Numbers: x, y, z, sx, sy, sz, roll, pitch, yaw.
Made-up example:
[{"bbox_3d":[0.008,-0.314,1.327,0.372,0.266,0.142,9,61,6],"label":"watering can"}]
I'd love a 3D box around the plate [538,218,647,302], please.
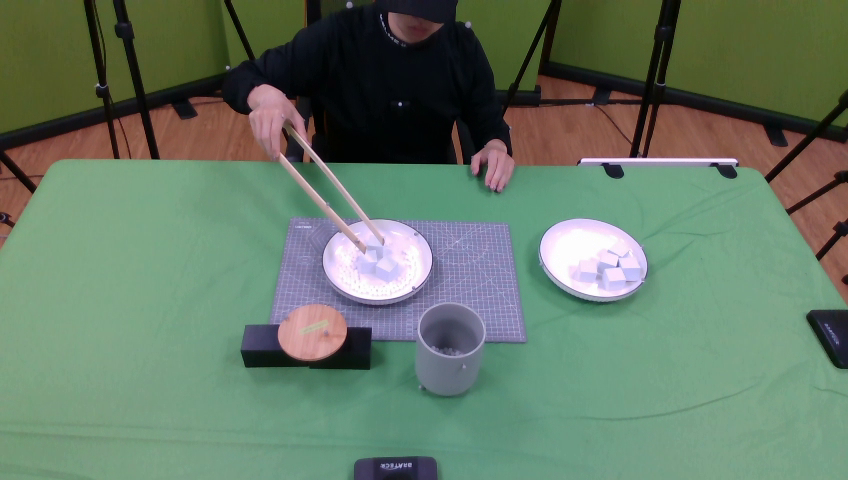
[{"bbox_3d":[0.322,0.042,1.171,0.208,0.039,0.206,2,46,-2],"label":"plate"}]

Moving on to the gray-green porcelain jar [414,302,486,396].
[{"bbox_3d":[0.038,0.177,0.958,0.106,0.127,0.105,2,46,-2],"label":"gray-green porcelain jar"}]

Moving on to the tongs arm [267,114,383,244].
[{"bbox_3d":[-0.194,-0.125,1.166,0.028,0.028,0.385,-32,63,-21],"label":"tongs arm"}]

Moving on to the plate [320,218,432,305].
[{"bbox_3d":[-0.089,0.044,1.134,0.209,0.038,0.208,3,46,-2],"label":"plate"}]

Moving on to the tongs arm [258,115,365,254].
[{"bbox_3d":[-0.214,-0.114,1.155,0.051,0.026,0.383,-34,64,-26],"label":"tongs arm"}]

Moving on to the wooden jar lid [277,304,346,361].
[{"bbox_3d":[-0.179,0.150,0.972,0.108,0.021,0.107,2,45,-2],"label":"wooden jar lid"}]
